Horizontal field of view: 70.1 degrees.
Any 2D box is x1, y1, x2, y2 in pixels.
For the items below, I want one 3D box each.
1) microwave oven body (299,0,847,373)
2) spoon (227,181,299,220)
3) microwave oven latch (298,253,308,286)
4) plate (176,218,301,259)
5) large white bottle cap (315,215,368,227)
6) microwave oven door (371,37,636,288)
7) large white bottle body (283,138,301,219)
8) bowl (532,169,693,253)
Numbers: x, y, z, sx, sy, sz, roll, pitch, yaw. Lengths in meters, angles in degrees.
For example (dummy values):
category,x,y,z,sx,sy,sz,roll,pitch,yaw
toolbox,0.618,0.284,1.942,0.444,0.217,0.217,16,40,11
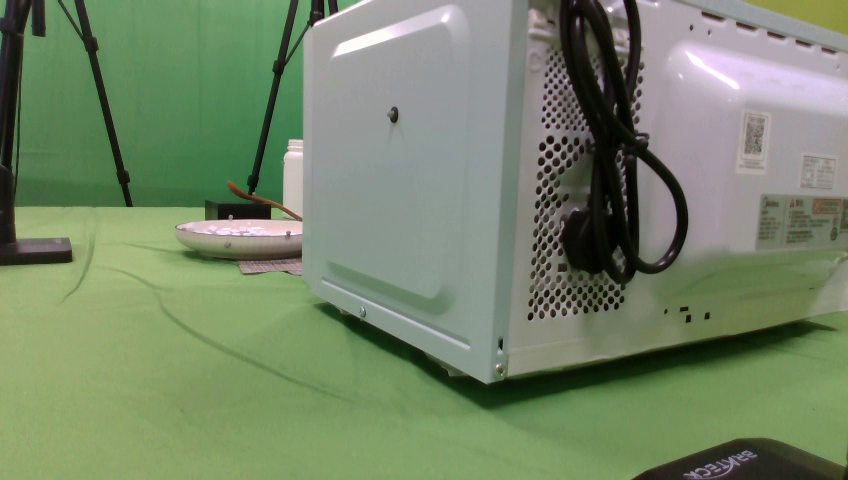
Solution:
category,x,y,z,sx,sy,sz,roll,pitch,yaw
microwave oven body,0.152,-0.055,0.542,0.444,0.260,0.324,-2,7,-33
spoon,-0.315,-0.074,1.235,0.195,0.021,0.041,24,-9,-37
microwave oven latch,-0.081,0.027,0.583,0.079,0.029,0.030,-2,8,-33
plate,-0.248,-0.003,0.877,0.209,0.038,0.209,1,8,0
large white bottle cap,-0.178,-0.041,1.309,0.115,0.018,0.115,2,6,0
microwave oven door,0.109,-0.080,0.686,0.358,0.243,0.039,-2,9,-33
large white bottle body,-0.265,-0.144,1.423,0.131,0.184,0.130,2,7,0
bowl,0.181,-0.030,0.596,0.151,0.077,0.151,1,6,0
